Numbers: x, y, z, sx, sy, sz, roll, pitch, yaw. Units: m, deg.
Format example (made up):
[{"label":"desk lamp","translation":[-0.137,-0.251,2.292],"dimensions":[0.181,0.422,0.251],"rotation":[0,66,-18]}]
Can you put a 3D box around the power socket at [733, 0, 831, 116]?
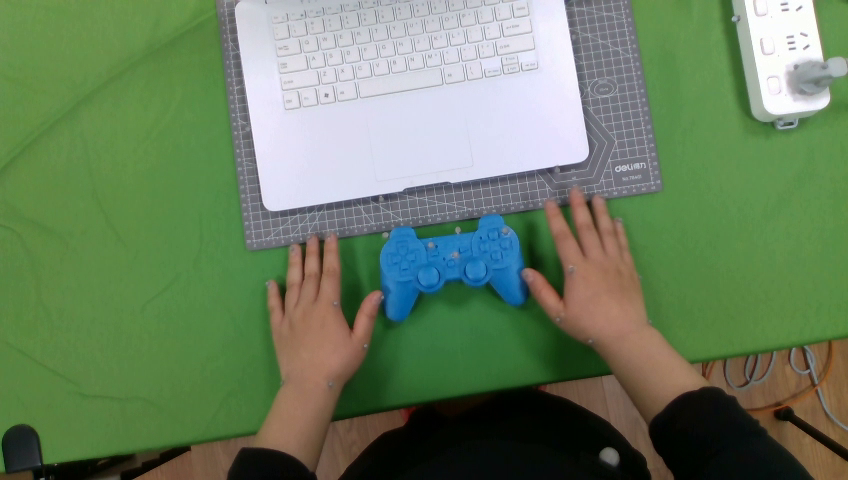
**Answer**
[{"label":"power socket","translation":[0.368,-0.245,0.635],"dimensions":[0.072,0.032,0.226],"rotation":[-8,86,2]}]

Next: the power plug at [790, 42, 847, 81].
[{"label":"power plug","translation":[0.408,-0.177,0.611],"dimensions":[0.072,0.053,0.035],"rotation":[4,86,-1]}]

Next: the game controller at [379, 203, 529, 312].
[{"label":"game controller","translation":[0.028,0.017,0.626],"dimensions":[0.155,0.052,0.097],"rotation":[-8,82,1]}]

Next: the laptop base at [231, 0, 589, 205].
[{"label":"laptop base","translation":[-0.017,-0.181,0.652],"dimensions":[0.354,0.023,0.235],"rotation":[-10,89,1]}]
